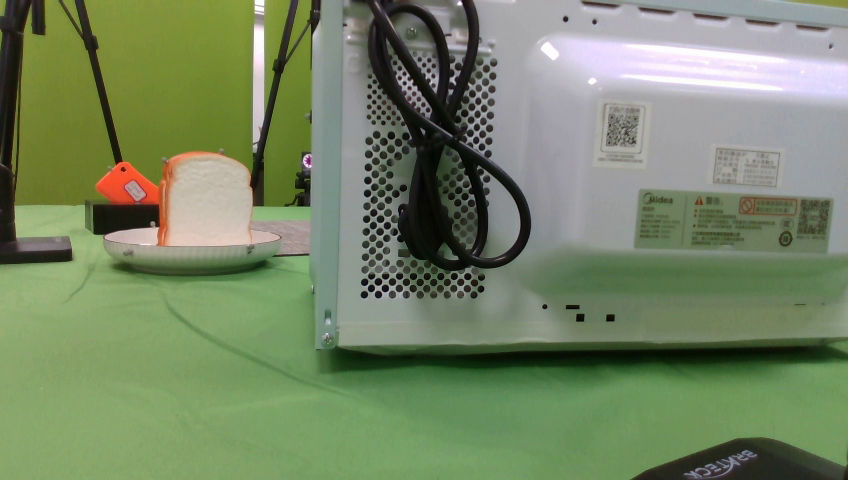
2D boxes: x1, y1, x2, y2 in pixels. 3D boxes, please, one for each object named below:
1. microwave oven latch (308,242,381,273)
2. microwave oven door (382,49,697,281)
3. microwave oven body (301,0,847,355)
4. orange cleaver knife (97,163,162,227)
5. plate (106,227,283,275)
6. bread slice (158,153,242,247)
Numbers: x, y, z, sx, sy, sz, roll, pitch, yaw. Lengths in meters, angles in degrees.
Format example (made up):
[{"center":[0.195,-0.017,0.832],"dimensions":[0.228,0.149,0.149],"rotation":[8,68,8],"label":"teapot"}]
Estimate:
[{"center":[-0.086,0.019,0.656],"dimensions":[0.079,0.029,0.030],"rotation":[2,7,-11],"label":"microwave oven latch"},{"center":[0.135,-0.077,0.685],"dimensions":[0.357,0.243,0.039],"rotation":[1,8,-12],"label":"microwave oven door"},{"center":[0.120,-0.053,0.535],"dimensions":[0.443,0.260,0.325],"rotation":[2,7,-11],"label":"microwave oven body"},{"center":[-0.472,-0.062,1.087],"dimensions":[0.212,0.077,0.012],"rotation":[34,-14,-36],"label":"orange cleaver knife"},{"center":[-0.288,0.013,0.772],"dimensions":[0.208,0.039,0.207],"rotation":[2,7,0],"label":"plate"},{"center":[-0.287,-0.045,0.788],"dimensions":[0.107,0.134,0.018],"rotation":[2,8,-35],"label":"bread slice"}]
